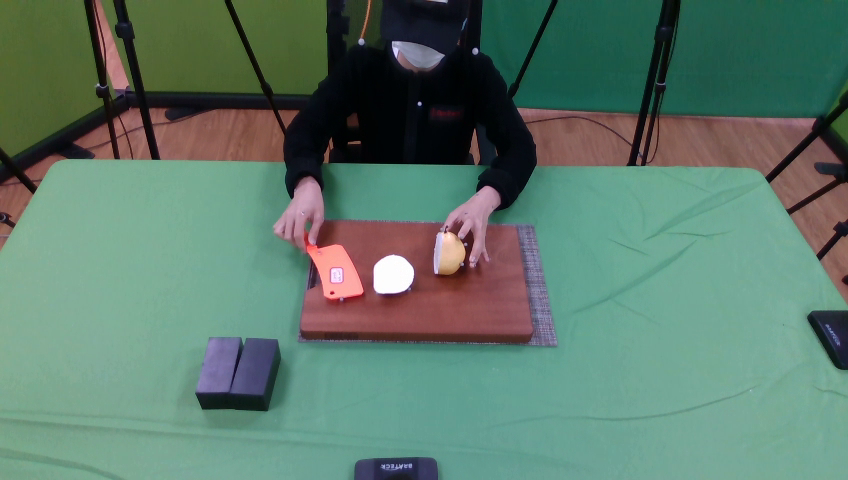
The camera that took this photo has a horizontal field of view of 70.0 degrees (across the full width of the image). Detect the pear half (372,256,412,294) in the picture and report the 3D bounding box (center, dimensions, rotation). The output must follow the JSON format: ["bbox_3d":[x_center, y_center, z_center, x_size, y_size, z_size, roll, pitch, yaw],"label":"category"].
[{"bbox_3d":[-0.062,0.069,1.079,0.070,0.031,0.088,37,58,12],"label":"pear half"}]

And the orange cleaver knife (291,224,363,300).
[{"bbox_3d":[-0.181,0.036,1.113,0.077,0.012,0.210,-18,50,-24],"label":"orange cleaver knife"}]

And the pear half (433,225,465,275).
[{"bbox_3d":[0.046,0.013,1.089,0.056,0.110,0.076,-4,50,-8],"label":"pear half"}]
